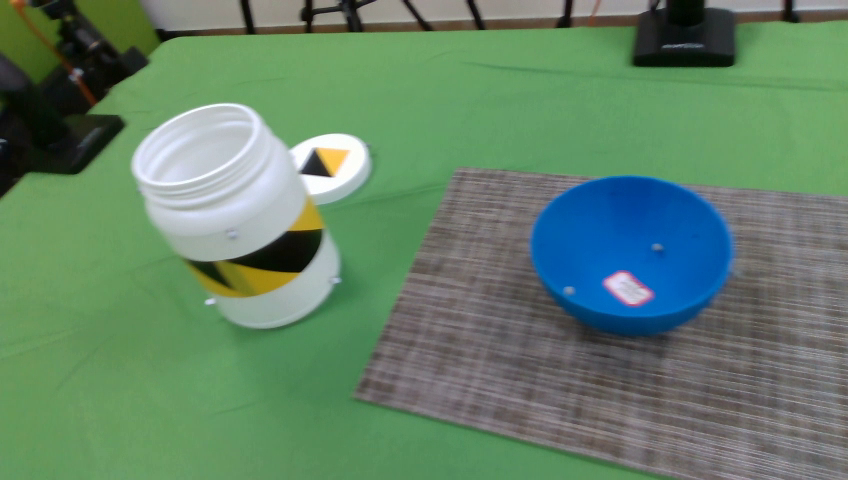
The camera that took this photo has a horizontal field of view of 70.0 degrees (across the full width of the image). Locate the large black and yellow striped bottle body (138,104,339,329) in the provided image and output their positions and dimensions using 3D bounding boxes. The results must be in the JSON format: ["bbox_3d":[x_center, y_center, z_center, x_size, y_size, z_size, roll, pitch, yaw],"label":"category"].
[{"bbox_3d":[-0.166,-0.019,0.562,0.130,0.186,0.129,-8,46,8],"label":"large black and yellow striped bottle body"}]

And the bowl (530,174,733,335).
[{"bbox_3d":[0.166,0.024,0.498,0.151,0.077,0.150,-8,46,8],"label":"bowl"}]

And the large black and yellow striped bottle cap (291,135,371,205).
[{"bbox_3d":[-0.121,-0.087,0.733,0.115,0.019,0.114,-7,46,7],"label":"large black and yellow striped bottle cap"}]
